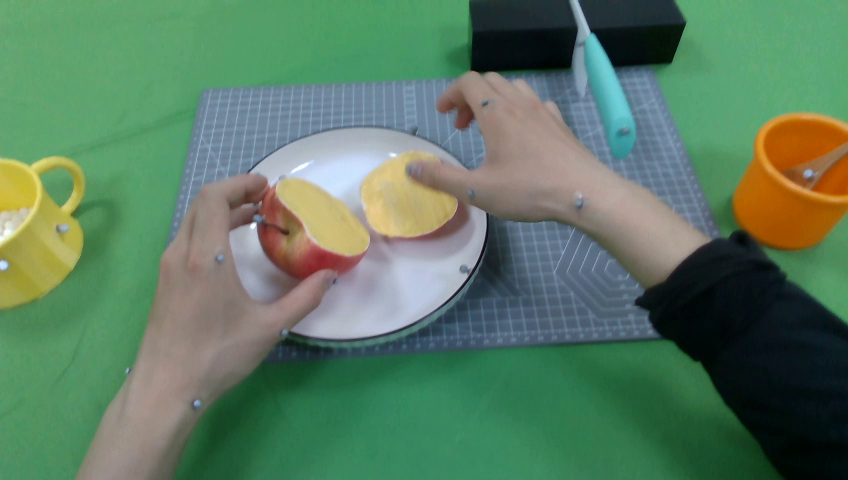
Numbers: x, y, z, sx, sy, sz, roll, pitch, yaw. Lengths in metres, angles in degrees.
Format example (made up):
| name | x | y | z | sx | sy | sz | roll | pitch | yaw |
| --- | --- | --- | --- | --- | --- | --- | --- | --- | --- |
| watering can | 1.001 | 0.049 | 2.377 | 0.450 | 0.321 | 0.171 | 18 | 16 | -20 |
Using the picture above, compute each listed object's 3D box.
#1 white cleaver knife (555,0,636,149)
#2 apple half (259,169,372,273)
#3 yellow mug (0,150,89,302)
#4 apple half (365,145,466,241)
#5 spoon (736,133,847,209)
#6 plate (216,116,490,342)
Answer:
| name | x | y | z | sx | sy | sz | roll | pitch | yaw |
| --- | --- | --- | --- | --- | --- | --- | --- | --- | --- |
| white cleaver knife | 0.154 | -0.186 | 0.573 | 0.021 | 0.066 | 0.283 | -5 | 52 | 4 |
| apple half | -0.083 | -0.007 | 0.443 | 0.080 | 0.053 | 0.075 | 45 | 23 | 12 |
| yellow mug | -0.321 | -0.022 | 0.475 | 0.099 | 0.064 | 0.130 | 27 | 60 | 18 |
| apple half | -0.008 | -0.034 | 0.490 | 0.081 | 0.033 | 0.081 | 0 | 82 | 0 |
| spoon | 0.329 | -0.080 | 0.451 | 0.022 | 0.194 | 0.041 | 24 | 43 | -36 |
| plate | -0.053 | -0.011 | 0.476 | 0.209 | 0.038 | 0.207 | 0 | 56 | 1 |
